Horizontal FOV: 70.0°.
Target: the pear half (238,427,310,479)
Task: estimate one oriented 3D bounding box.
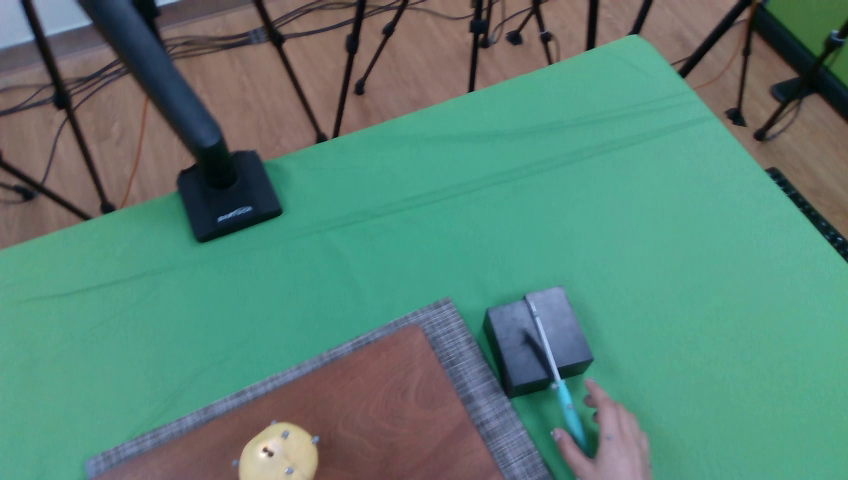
[{"bbox_3d":[-0.156,0.224,0.597,0.076,0.111,0.056,35,65,21],"label":"pear half"}]

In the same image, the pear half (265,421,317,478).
[{"bbox_3d":[-0.132,0.208,0.620,0.070,0.089,0.031,34,64,22],"label":"pear half"}]

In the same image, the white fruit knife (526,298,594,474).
[{"bbox_3d":[0.151,0.164,0.684,0.016,0.027,0.206,-19,83,-5],"label":"white fruit knife"}]
